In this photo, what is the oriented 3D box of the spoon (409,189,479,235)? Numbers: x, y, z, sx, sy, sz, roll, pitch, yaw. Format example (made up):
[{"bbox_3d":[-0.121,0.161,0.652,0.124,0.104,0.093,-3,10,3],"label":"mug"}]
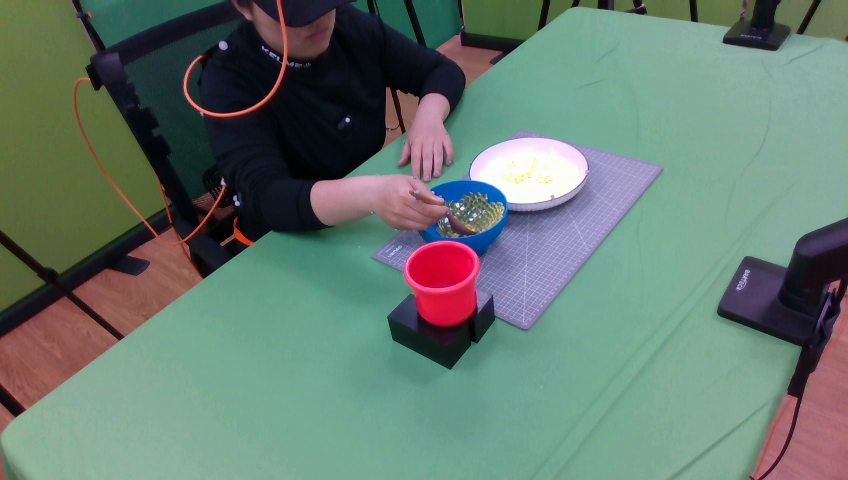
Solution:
[{"bbox_3d":[0.029,-0.041,0.890,0.041,0.195,0.021,20,82,34],"label":"spoon"}]

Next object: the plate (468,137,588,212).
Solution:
[{"bbox_3d":[0.182,-0.112,1.064,0.207,0.039,0.206,-5,40,5],"label":"plate"}]

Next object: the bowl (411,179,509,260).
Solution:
[{"bbox_3d":[0.060,-0.022,0.949,0.151,0.077,0.150,-5,40,5],"label":"bowl"}]
